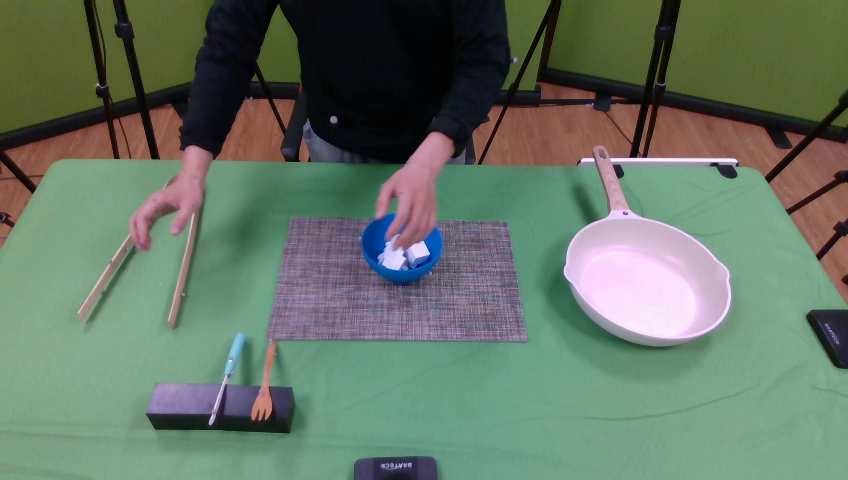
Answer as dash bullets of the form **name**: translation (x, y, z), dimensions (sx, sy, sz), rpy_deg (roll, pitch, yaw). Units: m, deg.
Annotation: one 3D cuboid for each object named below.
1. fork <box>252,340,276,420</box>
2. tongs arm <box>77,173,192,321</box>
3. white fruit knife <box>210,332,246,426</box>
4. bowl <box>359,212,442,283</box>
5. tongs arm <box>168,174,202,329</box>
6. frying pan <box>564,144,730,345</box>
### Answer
- **fork**: translation (-0.242, 0.211, 0.932), dimensions (0.028, 0.019, 0.206), rpy_deg (-8, 27, -5)
- **tongs arm**: translation (-0.535, -0.001, 1.148), dimensions (0.051, 0.026, 0.382), rpy_deg (7, 45, 1)
- **white fruit knife**: translation (-0.301, 0.206, 0.930), dimensions (0.016, 0.027, 0.206), rpy_deg (5, 29, -7)
- **bowl**: translation (-0.044, 0.026, 1.124), dimensions (0.151, 0.077, 0.150), rpy_deg (2, 46, -2)
- **tongs arm**: translation (-0.454, 0.006, 1.154), dimensions (0.028, 0.028, 0.385), rpy_deg (-5, 47, -6)
- **frying pan**: translation (0.396, -0.008, 1.179), dimensions (0.307, 0.103, 0.484), rpy_deg (0, 55, -5)
